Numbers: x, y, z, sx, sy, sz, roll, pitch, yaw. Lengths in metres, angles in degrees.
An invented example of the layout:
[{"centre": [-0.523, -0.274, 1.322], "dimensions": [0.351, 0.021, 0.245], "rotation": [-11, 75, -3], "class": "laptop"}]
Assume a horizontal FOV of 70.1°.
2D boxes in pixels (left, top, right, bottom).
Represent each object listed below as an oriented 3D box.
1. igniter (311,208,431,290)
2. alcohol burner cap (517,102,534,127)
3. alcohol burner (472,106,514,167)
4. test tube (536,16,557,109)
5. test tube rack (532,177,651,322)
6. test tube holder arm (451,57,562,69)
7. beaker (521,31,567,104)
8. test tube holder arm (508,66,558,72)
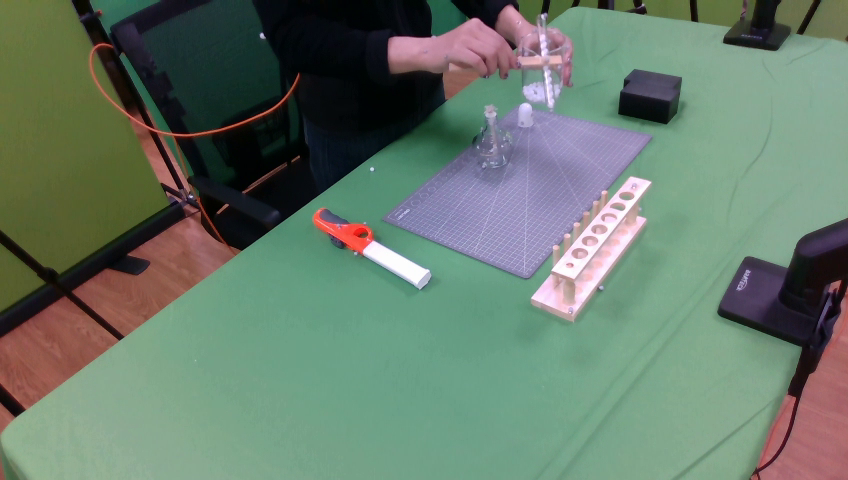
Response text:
[{"centre": [-0.096, 0.008, 0.985], "dimensions": [0.274, 0.025, 0.057], "rotation": [29, 63, 36], "class": "igniter"}, {"centre": [0.205, -0.255, 1.223], "dimensions": [0.034, 0.048, 0.033], "rotation": [-6, 41, 5], "class": "alcohol burner cap"}, {"centre": [0.126, -0.194, 1.111], "dimensions": [0.078, 0.119, 0.077], "rotation": [-5, 42, 5], "class": "alcohol burner"}, {"centre": [0.187, -0.270, 0.919], "dimensions": [0.017, 0.017, 0.150], "rotation": [-6, 78, 5], "class": "test tube"}, {"centre": [0.248, 0.002, 0.883], "dimensions": [0.066, 0.085, 0.243], "rotation": [22, 49, 32], "class": "test tube rack"}, {"centre": [0.124, -0.261, 0.891], "dimensions": [0.179, 0.013, 0.015], "rotation": [-6, 74, -20], "class": "test tube holder arm"}, {"centre": [0.200, -0.286, 1.016], "dimensions": [0.074, 0.101, 0.083], "rotation": [2, 46, 11], "class": "beaker"}, {"centre": [0.163, -0.263, 0.913], "dimensions": [0.088, 0.010, 0.015], "rotation": [-4, 74, -27], "class": "test tube holder arm"}]
